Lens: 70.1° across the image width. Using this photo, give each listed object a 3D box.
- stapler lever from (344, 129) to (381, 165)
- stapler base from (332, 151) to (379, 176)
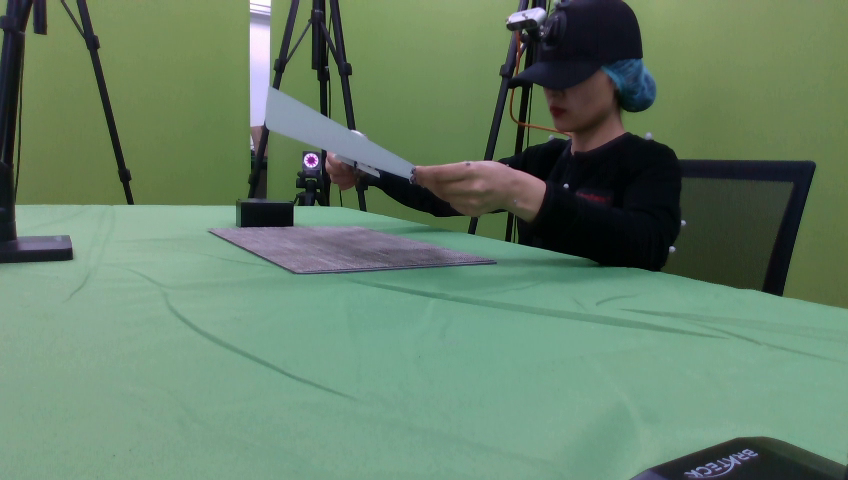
[{"bbox_3d":[-0.103,-0.159,1.043,0.027,0.040,0.118,27,4,17],"label":"stapler lever"},{"bbox_3d":[-0.113,-0.137,1.043,0.041,0.024,0.131,27,3,17],"label":"stapler base"}]
